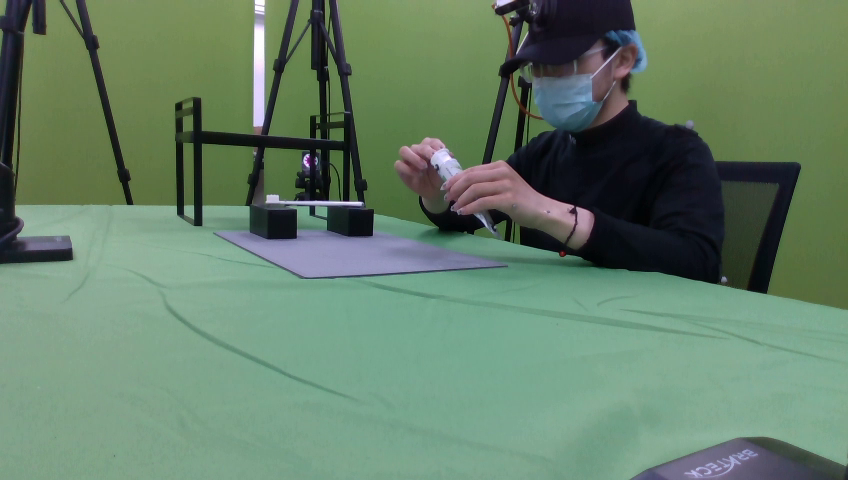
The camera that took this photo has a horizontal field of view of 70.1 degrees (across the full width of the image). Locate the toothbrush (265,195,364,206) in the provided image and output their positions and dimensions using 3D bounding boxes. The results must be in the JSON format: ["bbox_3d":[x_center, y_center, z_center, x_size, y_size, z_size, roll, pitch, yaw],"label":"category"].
[{"bbox_3d":[-0.194,-0.069,1.090,0.183,0.016,0.014,0,-8,-27],"label":"toothbrush"}]

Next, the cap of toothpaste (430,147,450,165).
[{"bbox_3d":[0.026,-0.126,0.927,0.037,0.037,0.011,-6,51,-49],"label":"cap of toothpaste"}]

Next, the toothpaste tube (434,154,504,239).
[{"bbox_3d":[0.063,-0.068,0.886,0.055,0.034,0.164,21,30,-56],"label":"toothpaste tube"}]
